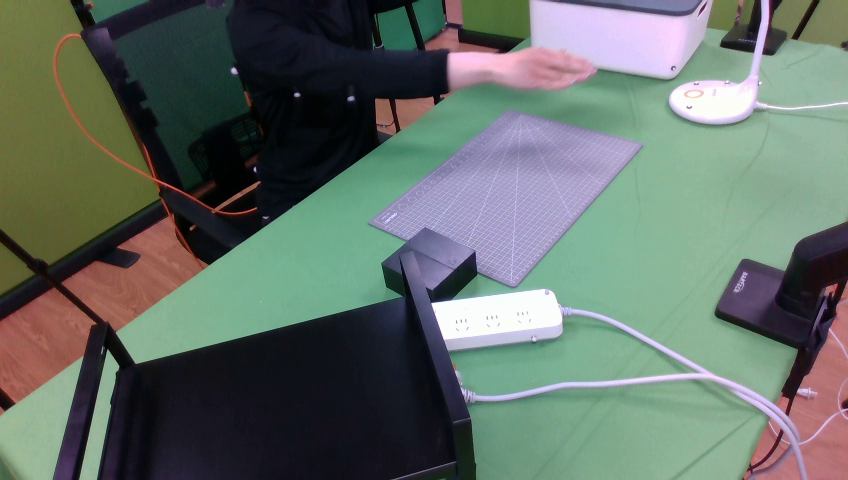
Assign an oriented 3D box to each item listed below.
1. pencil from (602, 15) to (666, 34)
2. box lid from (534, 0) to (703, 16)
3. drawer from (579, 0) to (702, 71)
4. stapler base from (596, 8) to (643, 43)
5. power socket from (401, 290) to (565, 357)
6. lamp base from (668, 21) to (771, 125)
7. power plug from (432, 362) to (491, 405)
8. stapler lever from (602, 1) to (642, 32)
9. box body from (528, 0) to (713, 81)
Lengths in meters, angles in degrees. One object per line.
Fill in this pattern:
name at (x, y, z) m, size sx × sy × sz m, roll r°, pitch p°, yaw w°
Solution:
pencil at (0.484, -0.494, 1.390) m, size 0.195 × 0.012 × 0.012 m, roll -21°, pitch 42°, yaw -21°
box lid at (0.440, -0.569, 1.350) m, size 0.369 × 0.015 × 0.264 m, roll 19°, pitch 47°, yaw 28°
drawer at (0.485, -0.489, 1.363) m, size 0.210 × 0.073 × 0.194 m, roll 24°, pitch 62°, yaw 21°
stapler base at (0.454, -0.502, 1.399) m, size 0.131 × 0.024 × 0.041 m, roll -38°, pitch 61°, yaw -20°
power socket at (0.080, 0.112, 0.821) m, size 0.227 × 0.033 × 0.072 m, roll -7°, pitch 41°, yaw 0°
lamp base at (0.577, -0.333, 1.155) m, size 0.179 × 0.181 × 0.160 m, roll 6°, pitch 42°, yaw 12°
power plug at (0.045, 0.182, 0.758) m, size 0.073 × 0.035 × 0.052 m, roll 21°, pitch 43°, yaw -18°
stapler lever at (0.452, -0.517, 1.380) m, size 0.118 × 0.040 × 0.026 m, roll -39°, pitch 61°, yaw -19°
box body at (0.450, -0.512, 1.398) m, size 0.361 × 0.161 × 0.254 m, roll 19°, pitch 48°, yaw 28°
